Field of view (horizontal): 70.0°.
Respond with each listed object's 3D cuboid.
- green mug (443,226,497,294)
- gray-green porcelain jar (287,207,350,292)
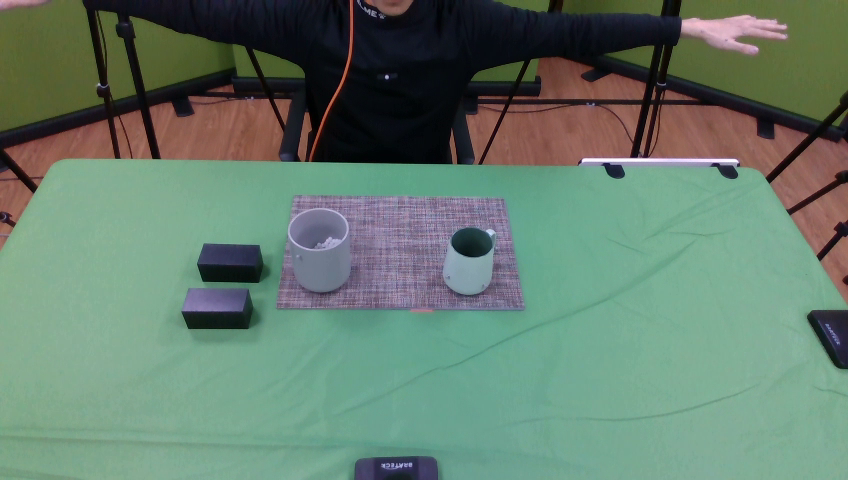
[{"bbox_3d":[0.093,0.028,1.114,0.092,0.105,0.125,31,52,23],"label":"green mug"},{"bbox_3d":[-0.185,0.022,1.084,0.106,0.127,0.105,2,47,-2],"label":"gray-green porcelain jar"}]
